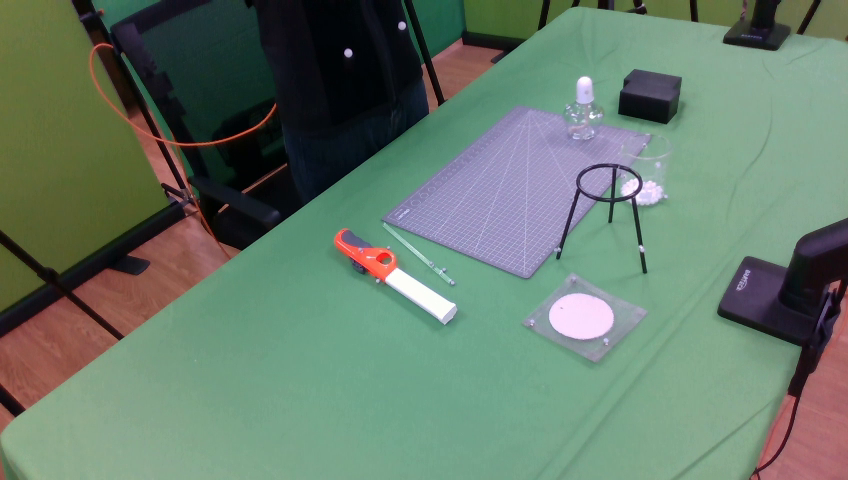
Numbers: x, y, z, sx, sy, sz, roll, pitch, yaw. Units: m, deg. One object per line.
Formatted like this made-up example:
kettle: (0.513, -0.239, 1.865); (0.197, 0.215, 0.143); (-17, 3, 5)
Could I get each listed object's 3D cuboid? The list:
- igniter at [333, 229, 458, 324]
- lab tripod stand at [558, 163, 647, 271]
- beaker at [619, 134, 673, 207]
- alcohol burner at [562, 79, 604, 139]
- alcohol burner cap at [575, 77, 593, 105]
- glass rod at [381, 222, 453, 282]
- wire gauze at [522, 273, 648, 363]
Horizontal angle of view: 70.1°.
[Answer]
igniter: (-0.055, 0.049, 0.929); (0.057, 0.025, 0.274); (-42, 49, -20)
lab tripod stand: (0.271, -0.034, 0.885); (0.148, 0.132, 0.147); (-4, 40, 4)
beaker: (0.357, -0.111, 0.986); (0.084, 0.101, 0.073); (-10, 40, 1)
alcohol burner: (0.303, -0.253, 1.147); (0.078, 0.119, 0.077); (-4, 41, 4)
alcohol burner cap: (0.297, -0.279, 1.123); (0.034, 0.048, 0.033); (-9, 41, 8)
glass rod: (-0.014, 0.017, 0.976); (0.008, 0.008, 0.198); (-30, 44, -22)
wire gauze: (0.220, 0.105, 0.828); (0.125, 0.011, 0.120); (-35, 47, -30)
